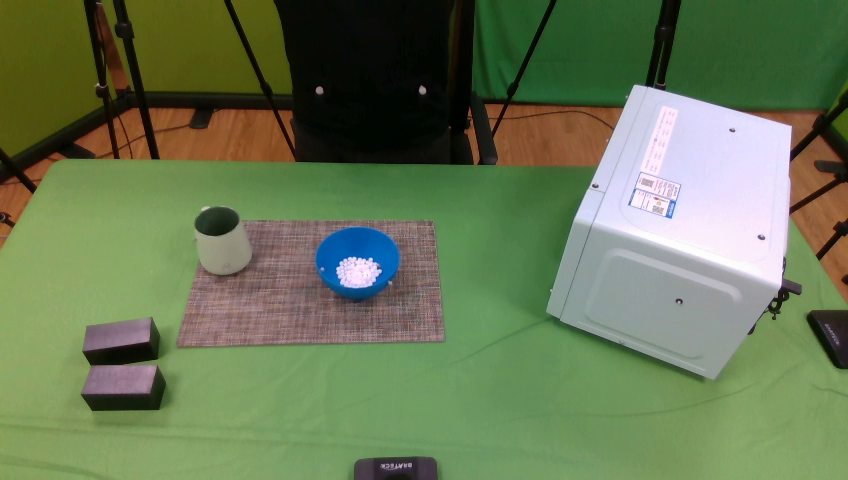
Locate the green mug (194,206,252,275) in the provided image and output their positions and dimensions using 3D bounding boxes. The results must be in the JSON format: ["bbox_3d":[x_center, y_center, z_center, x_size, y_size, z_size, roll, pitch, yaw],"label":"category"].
[{"bbox_3d":[-0.377,-0.008,1.112,0.092,0.105,0.124,-26,53,-26],"label":"green mug"}]

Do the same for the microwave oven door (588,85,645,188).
[{"bbox_3d":[0.342,-0.107,1.149,0.039,0.245,0.354,20,48,15],"label":"microwave oven door"}]

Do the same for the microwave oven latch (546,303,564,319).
[{"bbox_3d":[0.242,0.102,1.081,0.030,0.029,0.079,21,48,17],"label":"microwave oven latch"}]

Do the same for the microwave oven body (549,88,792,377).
[{"bbox_3d":[0.456,-0.028,1.088,0.325,0.261,0.440,20,47,16],"label":"microwave oven body"}]

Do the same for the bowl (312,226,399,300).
[{"bbox_3d":[-0.121,0.054,1.091,0.151,0.077,0.150,2,46,-2],"label":"bowl"}]
